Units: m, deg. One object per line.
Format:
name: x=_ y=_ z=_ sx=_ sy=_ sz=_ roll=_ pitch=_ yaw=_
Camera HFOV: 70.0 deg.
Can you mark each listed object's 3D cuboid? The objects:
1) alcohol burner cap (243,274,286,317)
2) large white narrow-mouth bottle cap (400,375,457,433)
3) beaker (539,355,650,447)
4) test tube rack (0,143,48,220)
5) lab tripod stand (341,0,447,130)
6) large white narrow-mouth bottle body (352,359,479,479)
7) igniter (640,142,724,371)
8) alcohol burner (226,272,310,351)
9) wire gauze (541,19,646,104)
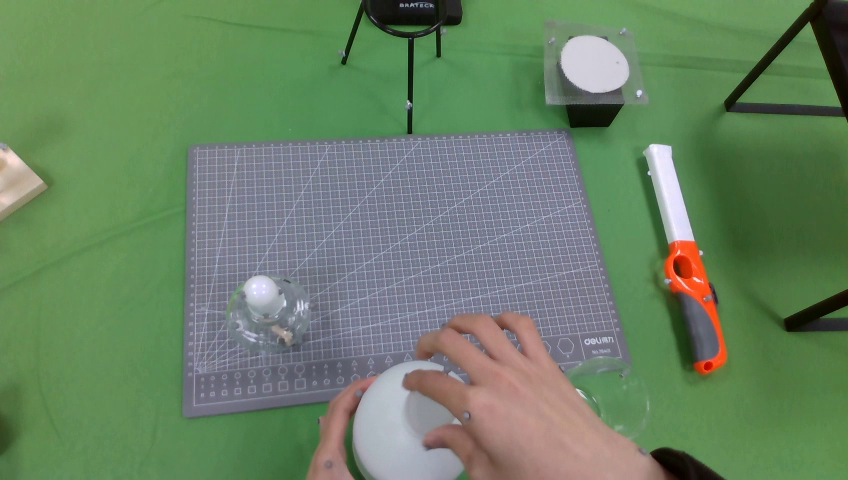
alcohol burner cap: x=-0.141 y=0.047 z=0.527 sx=0.034 sy=0.048 sz=0.033 roll=1 pitch=72 yaw=-4
large white narrow-mouth bottle cap: x=0.003 y=0.111 z=0.411 sx=0.038 sy=0.024 sz=0.037 roll=3 pitch=66 yaw=-6
beaker: x=0.152 y=0.154 z=0.570 sx=0.084 sy=0.101 sz=0.073 roll=27 pitch=66 yaw=6
test tube rack: x=-0.497 y=-0.016 z=0.564 sx=0.066 sy=0.085 sz=0.242 roll=41 pitch=68 yaw=11
lab tripod stand: x=-0.025 y=-0.222 z=0.691 sx=0.149 sy=0.132 sz=0.147 roll=4 pitch=67 yaw=-8
large white narrow-mouth bottle body: x=-0.008 y=0.152 z=0.497 sx=0.102 sy=0.196 sz=0.101 roll=3 pitch=65 yaw=-6
igniter: x=0.291 y=0.011 z=0.689 sx=0.057 sy=0.025 sz=0.274 roll=3 pitch=67 yaw=-18
alcohol burner: x=-0.145 y=0.060 z=0.560 sx=0.078 sy=0.120 sz=0.077 roll=4 pitch=64 yaw=-8
wire gauze: x=0.202 y=-0.215 z=0.733 sx=0.122 sy=0.011 sz=0.124 roll=3 pitch=66 yaw=-6
